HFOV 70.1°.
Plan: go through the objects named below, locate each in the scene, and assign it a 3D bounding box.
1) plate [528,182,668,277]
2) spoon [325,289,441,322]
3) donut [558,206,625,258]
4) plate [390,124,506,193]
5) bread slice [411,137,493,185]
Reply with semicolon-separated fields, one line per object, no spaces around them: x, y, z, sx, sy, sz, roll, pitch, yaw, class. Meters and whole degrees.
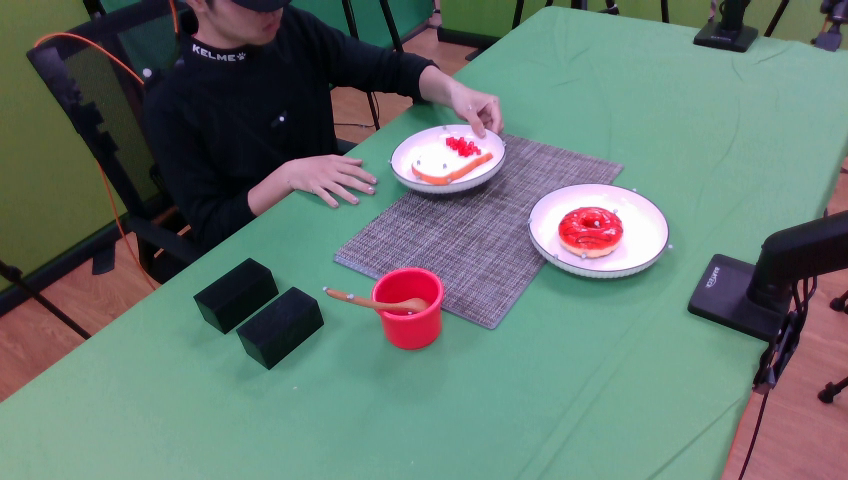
0.264;-0.014;0.933;0.207;0.039;0.206;-3;42;3;plate
-0.047;0.084;0.776;0.195;0.021;0.041;12;27;-42;spoon
0.254;-0.015;0.917;0.099;0.048;0.098;-5;41;5;donut
0.045;-0.142;1.086;0.209;0.038;0.208;-5;38;5;plate
0.044;-0.143;1.090;0.132;0.019;0.104;-34;44;-28;bread slice
